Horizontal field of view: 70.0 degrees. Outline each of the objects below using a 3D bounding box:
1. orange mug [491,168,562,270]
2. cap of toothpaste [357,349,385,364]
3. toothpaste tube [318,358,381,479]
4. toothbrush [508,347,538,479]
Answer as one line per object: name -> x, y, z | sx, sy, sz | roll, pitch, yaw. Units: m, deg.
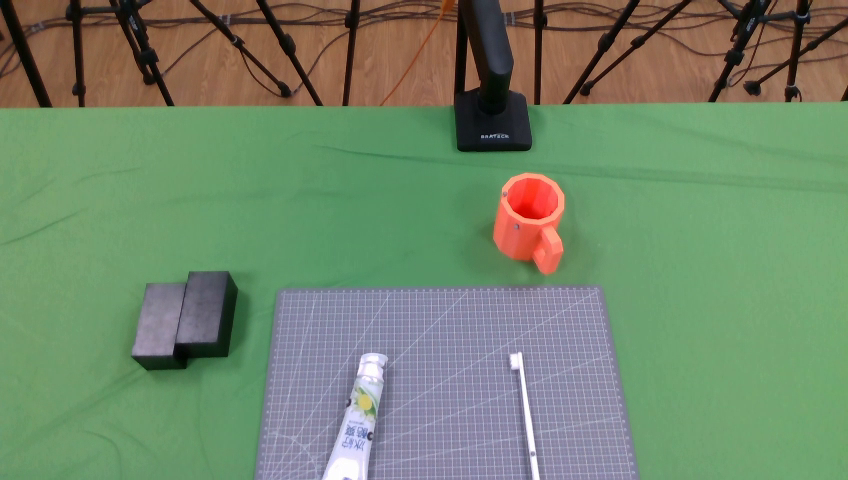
orange mug -> 0.149, -0.024, 0.839 | 0.083, 0.101, 0.125 | -20, 57, -12
cap of toothpaste -> -0.067, 0.148, 0.763 | 0.037, 0.037, 0.011 | 1, 57, -1
toothpaste tube -> -0.084, 0.219, 0.728 | 0.055, 0.035, 0.164 | 6, 63, 10
toothbrush -> 0.122, 0.217, 0.742 | 0.016, 0.014, 0.180 | -5, 60, 0
